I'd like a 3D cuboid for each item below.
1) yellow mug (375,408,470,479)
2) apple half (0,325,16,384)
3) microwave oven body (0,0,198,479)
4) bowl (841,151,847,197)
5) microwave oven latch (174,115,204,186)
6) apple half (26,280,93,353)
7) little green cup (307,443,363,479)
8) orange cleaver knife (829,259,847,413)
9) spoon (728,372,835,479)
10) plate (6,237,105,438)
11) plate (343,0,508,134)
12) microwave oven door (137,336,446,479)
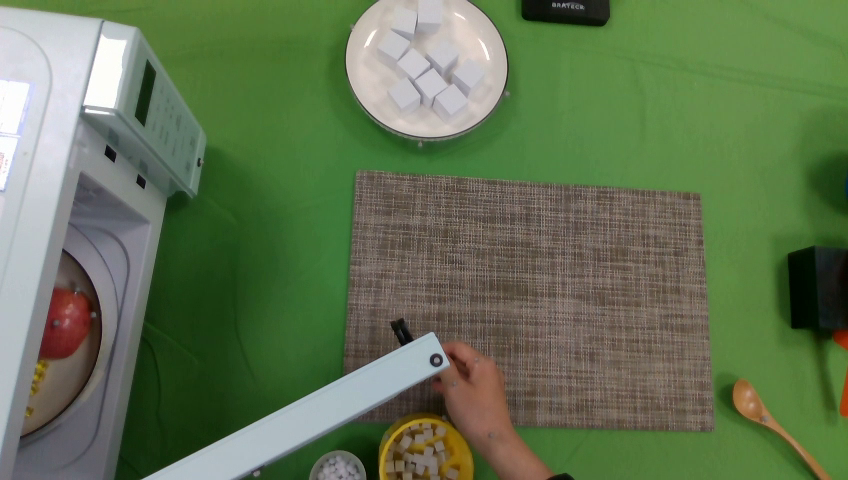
[{"bbox_3d":[-0.006,0.254,0.663,0.100,0.064,0.130,13,79,-1],"label":"yellow mug"},{"bbox_3d":[-0.442,0.114,0.574,0.081,0.053,0.074,18,88,-15],"label":"apple half"},{"bbox_3d":[-0.430,0.031,0.559,0.326,0.260,0.440,6,79,-5],"label":"microwave oven body"},{"bbox_3d":[0.609,-0.086,0.790,0.151,0.077,0.150,1,79,-5],"label":"bowl"},{"bbox_3d":[-0.275,-0.105,0.701,0.030,0.029,0.079,7,79,-5],"label":"microwave oven latch"},{"bbox_3d":[-0.378,0.076,0.603,0.081,0.033,0.081,1,78,-2],"label":"apple half"},{"bbox_3d":[-0.096,0.254,0.666,0.061,0.039,0.061,1,77,-4],"label":"little green cup"},{"bbox_3d":[0.523,0.104,0.740,0.012,0.077,0.212,4,102,-1],"label":"orange cleaver knife"},{"bbox_3d":[0.437,0.236,0.735,0.193,0.022,0.041,45,59,4],"label":"spoon"},{"bbox_3d":[-0.423,0.092,0.602,0.209,0.038,0.208,1,78,-6],"label":"plate"},{"bbox_3d":[0.002,-0.230,0.776,0.208,0.039,0.206,1,78,-6],"label":"plate"},{"bbox_3d":[-0.155,0.180,0.553,0.356,0.244,0.039,-26,81,-11],"label":"microwave oven door"}]
